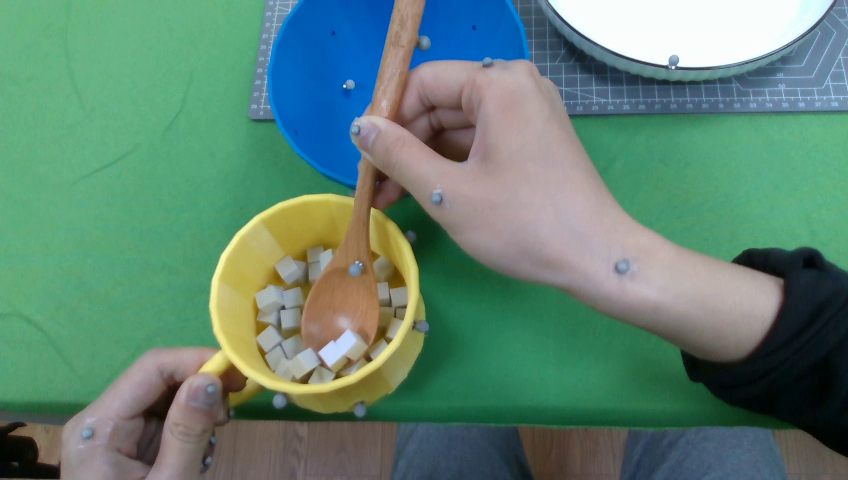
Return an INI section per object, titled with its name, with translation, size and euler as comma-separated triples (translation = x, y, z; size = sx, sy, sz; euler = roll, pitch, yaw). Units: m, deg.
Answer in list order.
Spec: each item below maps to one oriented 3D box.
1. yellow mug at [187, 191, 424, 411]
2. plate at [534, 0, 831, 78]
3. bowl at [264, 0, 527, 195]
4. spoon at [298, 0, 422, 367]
[yellow mug]
translation = -0.063, 0.042, 0.311
size = 0.131, 0.064, 0.099
euler = -39, 72, -12
[plate]
translation = 0.169, -0.196, 0.414
size = 0.209, 0.038, 0.207
euler = -2, 71, 5
[bowl]
translation = -0.013, -0.089, 0.377
size = 0.151, 0.077, 0.150
euler = -2, 75, 6
[spoon]
translation = -0.027, -0.026, 0.283
size = 0.041, 0.021, 0.194
euler = 20, 112, 13
